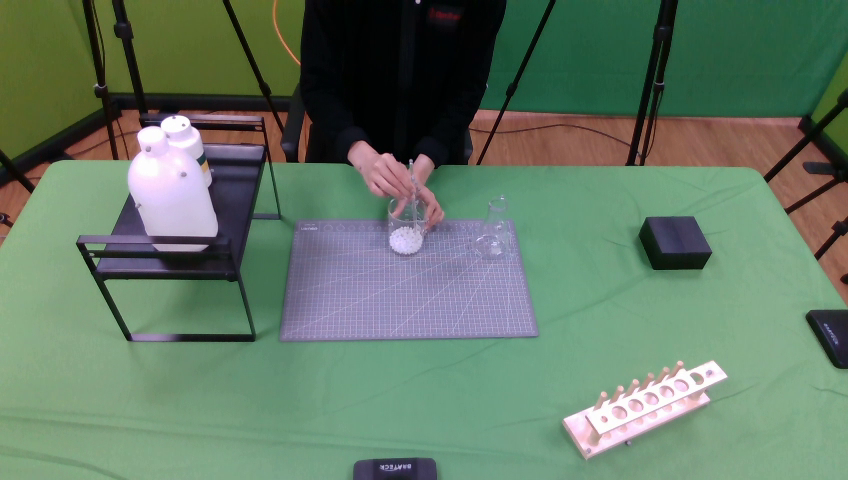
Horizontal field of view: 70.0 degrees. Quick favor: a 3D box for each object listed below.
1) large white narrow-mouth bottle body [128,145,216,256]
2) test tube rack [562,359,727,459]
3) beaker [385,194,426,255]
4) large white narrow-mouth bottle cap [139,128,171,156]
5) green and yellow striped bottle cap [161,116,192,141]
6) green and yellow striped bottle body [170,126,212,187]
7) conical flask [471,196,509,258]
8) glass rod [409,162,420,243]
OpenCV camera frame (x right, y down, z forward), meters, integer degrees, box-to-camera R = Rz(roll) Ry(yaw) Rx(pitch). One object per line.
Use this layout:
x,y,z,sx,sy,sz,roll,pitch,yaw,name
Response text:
-0.366,-0.073,0.872,0.102,0.195,0.101,3,47,-3,large white narrow-mouth bottle body
0.341,0.247,0.940,0.243,0.085,0.066,-16,49,-18,test tube rack
-0.033,-0.025,1.162,0.083,0.101,0.074,29,51,21,beaker
-0.358,-0.132,0.808,0.038,0.024,0.037,3,47,-3,large white narrow-mouth bottle cap
-0.387,-0.174,0.946,0.045,0.020,0.045,3,44,-3,green and yellow striped bottle cap
-0.389,-0.139,0.984,0.063,0.120,0.063,2,46,-2,green and yellow striped bottle body
0.133,-0.028,1.160,0.075,0.122,0.075,2,46,-2,conical flask
-0.017,-0.063,1.110,0.008,0.201,0.008,-2,46,3,glass rod
